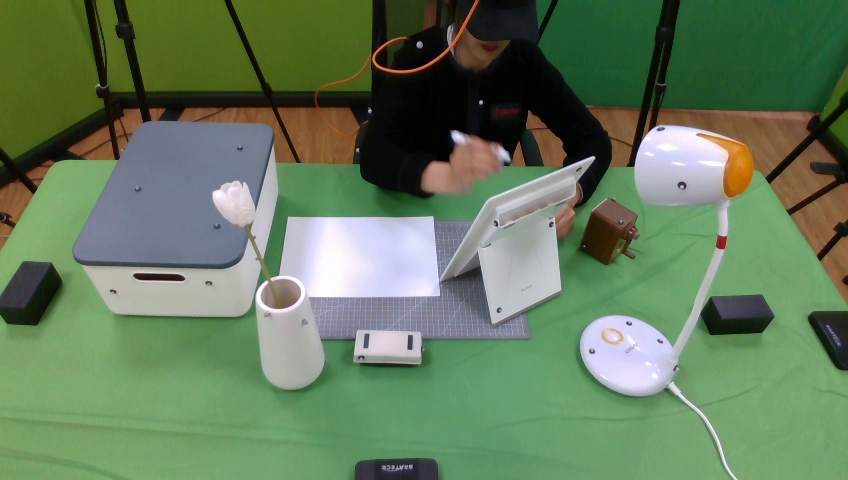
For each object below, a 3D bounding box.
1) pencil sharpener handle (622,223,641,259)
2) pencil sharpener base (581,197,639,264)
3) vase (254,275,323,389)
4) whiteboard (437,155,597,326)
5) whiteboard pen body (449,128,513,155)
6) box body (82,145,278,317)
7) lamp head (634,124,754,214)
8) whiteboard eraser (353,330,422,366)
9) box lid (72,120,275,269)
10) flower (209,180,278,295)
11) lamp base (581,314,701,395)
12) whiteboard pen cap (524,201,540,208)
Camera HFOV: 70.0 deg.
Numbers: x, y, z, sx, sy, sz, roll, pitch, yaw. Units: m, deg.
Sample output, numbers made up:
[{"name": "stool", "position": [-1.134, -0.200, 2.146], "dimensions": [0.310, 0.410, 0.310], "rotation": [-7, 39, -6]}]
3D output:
[{"name": "pencil sharpener handle", "position": [0.397, 0.003, 1.146], "dimensions": [0.030, 0.068, 0.036], "rotation": [37, 45, 27]}, {"name": "pencil sharpener base", "position": [0.362, -0.017, 1.179], "dimensions": [0.076, 0.107, 0.061], "rotation": [37, 54, 27]}, {"name": "vase", "position": [-0.209, 0.143, 0.921], "dimensions": [0.098, 0.201, 0.097], "rotation": [1, 46, -1]}, {"name": "whiteboard", "position": [0.180, 0.024, 1.029], "dimensions": [0.217, 0.306, 0.143], "rotation": [-21, 70, -23]}, {"name": "whiteboard pen body", "position": [0.095, -0.165, 1.023], "dimensions": [0.017, 0.017, 0.140], "rotation": [-34, 44, -31]}, {"name": "box body", "position": [-0.421, -0.041, 1.108], "dimensions": [0.254, 0.161, 0.361], "rotation": [2, 46, -3]}, {"name": "lamp head", "position": [0.351, -0.089, 0.776], "dimensions": [0.112, 0.113, 0.122], "rotation": [-30, 30, -28]}, {"name": "whiteboard eraser", "position": [-0.060, 0.180, 1.005], "dimensions": [0.113, 0.042, 0.055], "rotation": [2, 47, -2]}, {"name": "box lid", "position": [-0.417, -0.094, 1.056], "dimensions": [0.263, 0.015, 0.369], "rotation": [1, 47, -3]}, {"name": "flower", "position": [-0.216, 0.075, 0.871], "dimensions": [0.044, 0.363, 0.038], "rotation": [-29, 36, -19]}, {"name": "lamp base", "position": [0.361, 0.145, 0.973], "dimensions": [0.178, 0.181, 0.160], "rotation": [34, 53, 23]}, {"name": "whiteboard pen cap", "position": [0.230, -0.075, 1.288], "dimensions": [0.033, 0.018, 0.018], "rotation": [-3, 46, 8]}]
